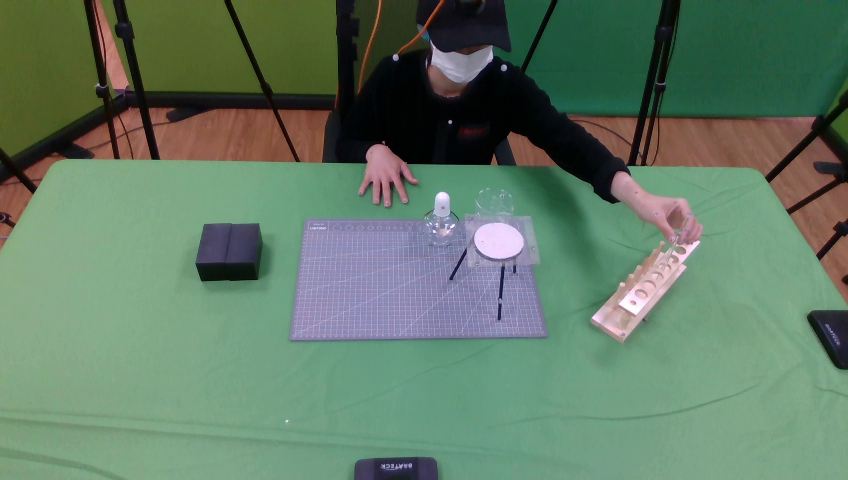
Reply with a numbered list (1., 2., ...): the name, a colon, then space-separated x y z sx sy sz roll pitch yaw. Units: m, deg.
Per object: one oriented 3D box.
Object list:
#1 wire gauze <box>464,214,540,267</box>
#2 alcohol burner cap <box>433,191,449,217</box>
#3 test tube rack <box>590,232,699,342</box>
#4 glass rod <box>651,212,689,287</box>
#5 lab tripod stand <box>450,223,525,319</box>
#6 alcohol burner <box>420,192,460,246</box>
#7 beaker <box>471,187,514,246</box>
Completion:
1. wire gauze: 0.131 -0.002 1.034 0.121 0.011 0.124 1 45 -2
2. alcohol burner cap: 0.033 -0.070 1.150 0.034 0.048 0.033 0 45 0
3. test tube rack: 0.407 0.074 1.112 0.066 0.085 0.242 35 53 26
4. glass rod: 0.425 0.022 1.051 0.008 0.201 0.008 0 49 0
5. lab tripod stand: 0.120 0.046 1.080 0.148 0.132 0.147 1 47 -1
6. alcohol burner: 0.032 -0.046 1.176 0.078 0.120 0.077 2 44 -1
7. beaker: 0.134 -0.042 1.190 0.083 0.101 0.074 34 53 25
